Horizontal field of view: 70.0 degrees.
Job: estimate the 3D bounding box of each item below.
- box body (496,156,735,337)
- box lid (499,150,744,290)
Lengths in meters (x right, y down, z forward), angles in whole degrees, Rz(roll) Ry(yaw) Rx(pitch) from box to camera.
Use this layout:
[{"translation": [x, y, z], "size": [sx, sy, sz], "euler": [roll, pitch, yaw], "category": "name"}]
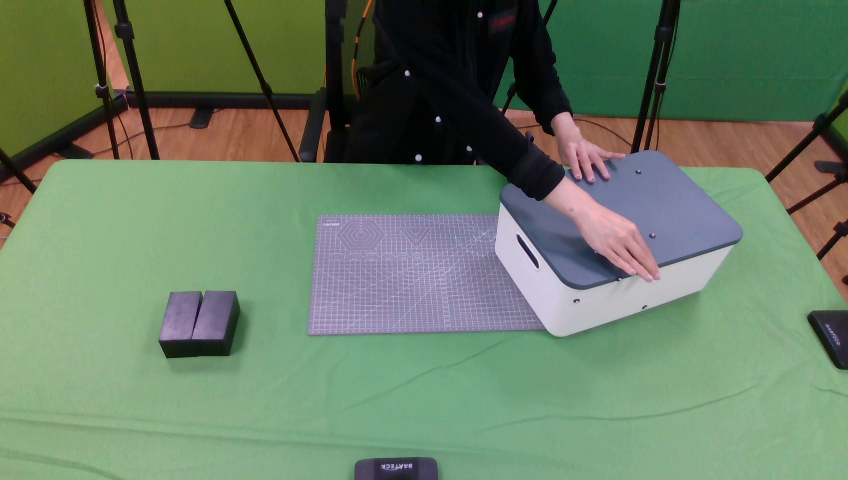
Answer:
[{"translation": [0.340, 0.003, 1.118], "size": [0.364, 0.161, 0.252], "euler": [-15, 49, -18], "category": "box body"}, {"translation": [0.341, -0.049, 1.065], "size": [0.372, 0.015, 0.261], "euler": [-15, 48, -18], "category": "box lid"}]
